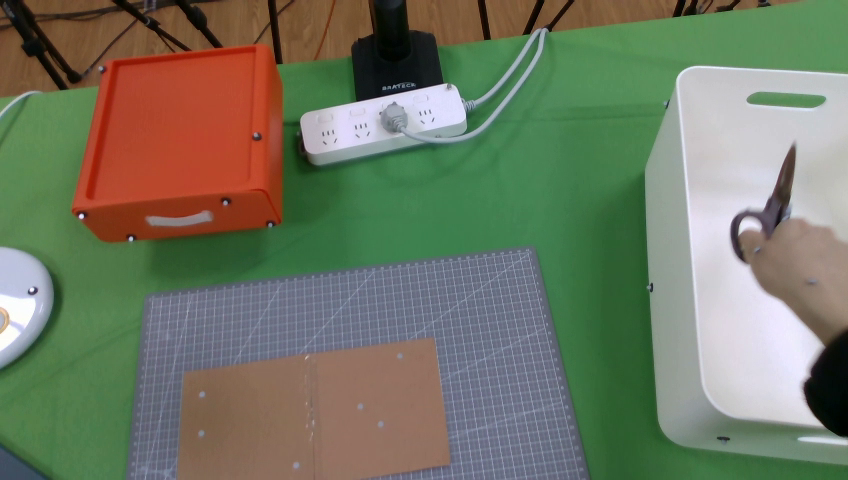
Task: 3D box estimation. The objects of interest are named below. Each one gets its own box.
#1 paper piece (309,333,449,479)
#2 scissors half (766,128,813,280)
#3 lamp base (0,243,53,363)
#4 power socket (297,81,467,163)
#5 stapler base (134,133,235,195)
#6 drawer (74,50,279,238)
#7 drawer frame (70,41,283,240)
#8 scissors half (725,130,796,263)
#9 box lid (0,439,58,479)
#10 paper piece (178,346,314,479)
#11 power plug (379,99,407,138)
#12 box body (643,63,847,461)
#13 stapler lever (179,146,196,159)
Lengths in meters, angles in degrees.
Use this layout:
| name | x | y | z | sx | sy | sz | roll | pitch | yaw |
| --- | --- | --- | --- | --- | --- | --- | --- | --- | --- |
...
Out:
| name | x | y | z | sx | sy | sz | roll | pitch | yaw |
| --- | --- | --- | --- | --- | --- | --- | --- | --- | --- |
| paper piece | -0.049 | 0.166 | 0.620 | 0.135 | 0.004 | 0.134 | -7 | 62 | -1 |
| scissors half | 0.337 | -0.038 | 0.559 | 0.040 | 0.013 | 0.174 | 19 | 62 | -2 |
| lamp base | -0.514 | 0.033 | 0.616 | 0.178 | 0.182 | 0.160 | 22 | 64 | 17 |
| power socket | -0.053 | -0.153 | 0.781 | 0.227 | 0.033 | 0.071 | -12 | 63 | -4 |
| stapler base | -0.282 | -0.091 | 0.700 | 0.130 | 0.024 | 0.041 | 21 | 81 | 16 |
| drawer | -0.267 | -0.113 | 0.691 | 0.194 | 0.074 | 0.210 | -6 | 61 | 0 |
| drawer frame | -0.270 | -0.115 | 0.692 | 0.202 | 0.083 | 0.211 | -6 | 61 | 0 |
| scissors half | 0.319 | -0.047 | 0.562 | 0.040 | 0.013 | 0.174 | 34 | 63 | 13 |
| box lid | -0.392 | 0.353 | 0.536 | 0.370 | 0.015 | 0.262 | 25 | 67 | 15 |
| paper piece | -0.181 | 0.184 | 0.617 | 0.136 | 0.009 | 0.137 | -9 | 63 | 1 |
| power plug | -0.038 | -0.141 | 0.748 | 0.035 | 0.053 | 0.072 | -3 | 62 | 1 |
| box body | 0.362 | 0.021 | 0.596 | 0.254 | 0.162 | 0.361 | 5 | 62 | 5 |
| stapler lever | -0.289 | -0.097 | 0.675 | 0.117 | 0.040 | 0.027 | 20 | 80 | 17 |
